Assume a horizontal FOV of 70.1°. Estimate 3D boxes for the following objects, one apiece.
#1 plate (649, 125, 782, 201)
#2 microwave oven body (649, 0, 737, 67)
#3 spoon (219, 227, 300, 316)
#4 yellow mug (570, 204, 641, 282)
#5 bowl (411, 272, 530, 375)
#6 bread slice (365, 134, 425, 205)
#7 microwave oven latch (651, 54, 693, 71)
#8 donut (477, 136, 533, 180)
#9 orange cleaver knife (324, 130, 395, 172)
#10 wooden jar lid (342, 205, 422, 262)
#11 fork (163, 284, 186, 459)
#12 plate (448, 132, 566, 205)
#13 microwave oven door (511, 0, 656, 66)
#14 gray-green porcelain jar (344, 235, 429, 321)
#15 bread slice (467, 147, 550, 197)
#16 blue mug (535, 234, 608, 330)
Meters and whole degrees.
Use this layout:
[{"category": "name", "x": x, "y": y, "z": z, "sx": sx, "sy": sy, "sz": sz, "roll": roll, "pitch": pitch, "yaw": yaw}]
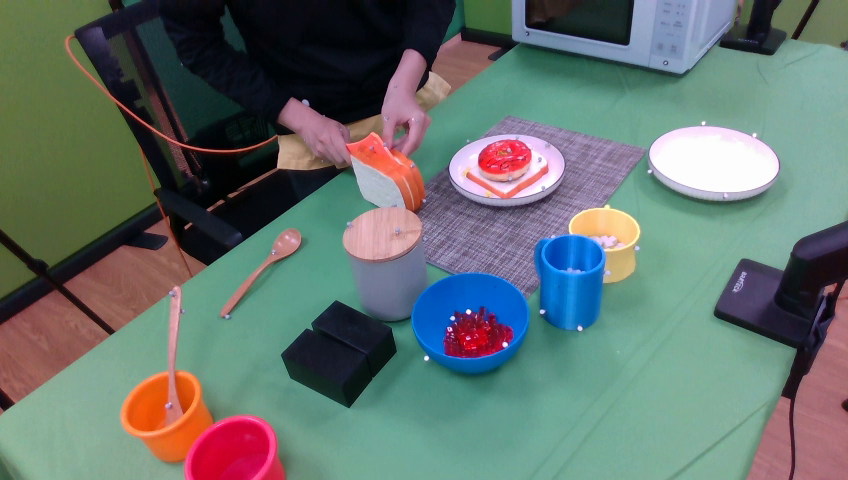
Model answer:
[{"category": "plate", "x": 0.493, "y": -0.127, "z": 1.036, "sx": 0.207, "sy": 0.039, "sz": 0.206, "roll": -4, "pitch": 41, "yaw": 4}, {"category": "microwave oven body", "x": 0.475, "y": -0.602, "z": 1.411, "sx": 0.438, "sy": 0.261, "sz": 0.327, "roll": 23, "pitch": 50, "yaw": 32}, {"category": "spoon", "x": -0.261, "y": 0.046, "z": 0.954, "sx": 0.041, "sy": 0.021, "sz": 0.194, "roll": 27, "pitch": 48, "yaw": 10}, {"category": "yellow mug", "x": 0.268, "y": -0.005, "z": 0.904, "sx": 0.099, "sy": 0.064, "sz": 0.130, "roll": 7, "pitch": 41, "yaw": 15}, {"category": "bowl", "x": 0.061, "y": 0.120, "z": 0.780, "sx": 0.151, "sy": 0.077, "sz": 0.150, "roll": -4, "pitch": 40, "yaw": 4}, {"category": "bread slice", "x": -0.052, "y": -0.114, "z": 1.049, "sx": 0.133, "sy": 0.107, "sz": 0.018, "roll": 33, "pitch": 58, "yaw": 32}, {"category": "microwave oven latch", "x": 0.531, "y": -0.386, "z": 1.301, "sx": 0.078, "sy": 0.029, "sz": 0.030, "roll": 26, "pitch": 51, "yaw": 33}, {"category": "donut", "x": 0.141, "y": -0.145, "z": 1.058, "sx": 0.099, "sy": 0.048, "sz": 0.098, "roll": -7, "pitch": 41, "yaw": 6}, {"category": "orange cleaver knife", "x": -0.117, "y": -0.155, "z": 1.078, "sx": 0.012, "sy": 0.077, "sz": 0.209, "roll": -38, "pitch": 24, "yaw": -27}, {"category": "wooden jar lid", "x": -0.055, "y": -0.005, "z": 0.808, "sx": 0.108, "sy": 0.021, "sz": 0.108, "roll": -6, "pitch": 41, "yaw": 6}, {"category": "fork", "x": -0.302, "y": 0.157, "z": 0.733, "sx": 0.028, "sy": 0.019, "sz": 0.207, "roll": -3, "pitch": 84, "yaw": 15}, {"category": "plate", "x": 0.147, "y": -0.124, "z": 1.075, "sx": 0.209, "sy": 0.038, "sz": 0.208, "roll": -4, "pitch": 41, "yaw": 4}, {"category": "microwave oven door", "x": 0.351, "y": -0.539, "z": 1.349, "sx": 0.353, "sy": 0.245, "sz": 0.039, "roll": 24, "pitch": 50, "yaw": 31}, {"category": "gray-green porcelain jar", "x": -0.049, "y": 0.042, "z": 0.849, "sx": 0.106, "sy": 0.127, "sz": 0.105, "roll": -4, "pitch": 41, "yaw": 4}, {"category": "bread slice", "x": 0.157, "y": -0.128, "z": 1.084, "sx": 0.132, "sy": 0.019, "sz": 0.104, "roll": -35, "pitch": 48, "yaw": -24}, {"category": "blue mug", "x": 0.191, "y": 0.048, "z": 0.824, "sx": 0.082, "sy": 0.106, "sz": 0.115, "roll": -26, "pitch": 44, "yaw": -20}]
